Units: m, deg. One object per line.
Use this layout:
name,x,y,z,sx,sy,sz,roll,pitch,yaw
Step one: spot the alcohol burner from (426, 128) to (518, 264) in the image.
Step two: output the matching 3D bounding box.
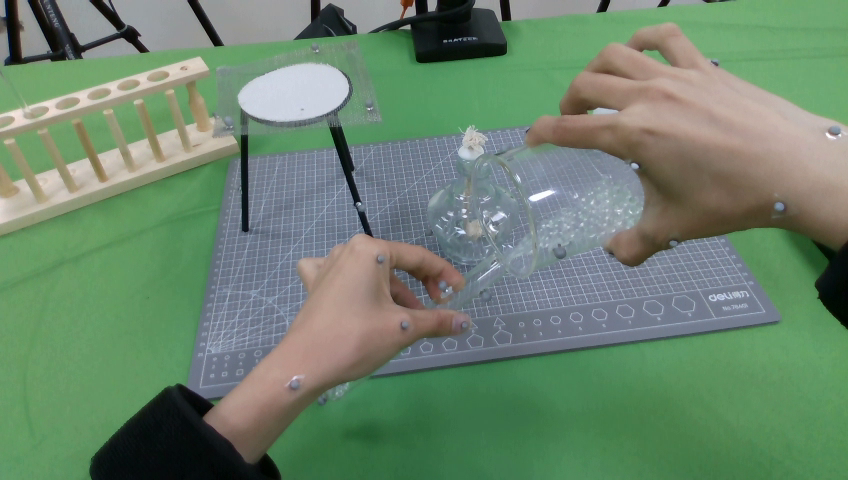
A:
alcohol burner,0.039,-0.039,0.498,0.078,0.120,0.077,-2,42,2

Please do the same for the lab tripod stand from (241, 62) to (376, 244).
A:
lab tripod stand,-0.101,-0.073,0.528,0.148,0.133,0.147,-2,46,3

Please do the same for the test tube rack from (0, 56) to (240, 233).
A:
test tube rack,-0.322,-0.101,0.609,0.243,0.086,0.066,-24,48,-20

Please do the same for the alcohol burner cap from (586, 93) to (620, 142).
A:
alcohol burner cap,0.188,-0.130,0.634,0.034,0.048,0.033,-2,44,2

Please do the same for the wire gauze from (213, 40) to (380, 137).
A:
wire gauze,-0.105,-0.121,0.481,0.125,0.011,0.120,-11,45,-6

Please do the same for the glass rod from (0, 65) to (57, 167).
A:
glass rod,-0.374,-0.134,0.551,0.008,0.201,0.008,-1,48,2

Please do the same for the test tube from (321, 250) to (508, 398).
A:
test tube,-0.009,0.056,0.388,0.150,0.017,0.017,-38,45,13

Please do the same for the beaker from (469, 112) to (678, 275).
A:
beaker,0.088,-0.028,0.355,0.100,0.085,0.073,-19,52,-14
